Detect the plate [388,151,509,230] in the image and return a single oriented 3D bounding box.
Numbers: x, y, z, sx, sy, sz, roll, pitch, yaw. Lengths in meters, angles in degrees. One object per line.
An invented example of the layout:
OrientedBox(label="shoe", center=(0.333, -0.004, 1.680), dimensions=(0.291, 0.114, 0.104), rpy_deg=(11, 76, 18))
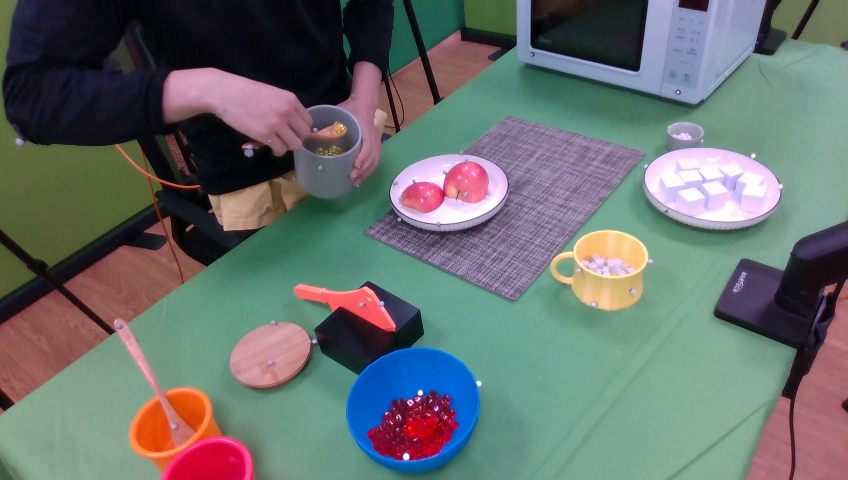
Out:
OrientedBox(label="plate", center=(0.043, -0.082, 1.042), dimensions=(0.209, 0.038, 0.208), rpy_deg=(-4, 40, 4))

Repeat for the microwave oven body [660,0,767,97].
OrientedBox(label="microwave oven body", center=(0.473, -0.517, 1.314), dimensions=(0.438, 0.261, 0.327), rpy_deg=(26, 51, 34))

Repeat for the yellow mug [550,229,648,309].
OrientedBox(label="yellow mug", center=(0.245, 0.040, 0.857), dimensions=(0.130, 0.064, 0.099), rpy_deg=(1, 42, 11))

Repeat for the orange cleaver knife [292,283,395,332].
OrientedBox(label="orange cleaver knife", center=(-0.115, 0.092, 0.835), dimensions=(0.209, 0.077, 0.012), rpy_deg=(1, 32, 48))

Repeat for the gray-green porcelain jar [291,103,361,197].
OrientedBox(label="gray-green porcelain jar", center=(-0.158, -0.138, 0.972), dimensions=(0.106, 0.126, 0.105), rpy_deg=(5, 60, -7))

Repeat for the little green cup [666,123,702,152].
OrientedBox(label="little green cup", center=(0.472, -0.183, 1.102), dimensions=(0.061, 0.039, 0.061), rpy_deg=(-5, 41, 5))

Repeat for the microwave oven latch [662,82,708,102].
OrientedBox(label="microwave oven latch", center=(0.518, -0.299, 1.203), dimensions=(0.078, 0.029, 0.030), rpy_deg=(29, 53, 36))

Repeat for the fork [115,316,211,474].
OrientedBox(label="fork", center=(-0.308, 0.179, 0.708), dimensions=(0.028, 0.018, 0.207), rpy_deg=(-30, 89, -22))

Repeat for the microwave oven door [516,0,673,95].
OrientedBox(label="microwave oven door", center=(0.344, -0.458, 1.256), dimensions=(0.353, 0.245, 0.039), rpy_deg=(26, 51, 33))

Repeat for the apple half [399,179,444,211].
OrientedBox(label="apple half", center=(-0.004, -0.088, 1.045), dimensions=(0.081, 0.033, 0.081), rpy_deg=(-1, 43, 2))

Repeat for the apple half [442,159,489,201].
OrientedBox(label="apple half", center=(0.074, -0.110, 1.047), dimensions=(0.080, 0.053, 0.075), rpy_deg=(21, 46, 30))

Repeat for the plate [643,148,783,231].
OrientedBox(label="plate", center=(0.464, -0.079, 0.986), dimensions=(0.207, 0.039, 0.206), rpy_deg=(-4, 40, 4))

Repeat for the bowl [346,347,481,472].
OrientedBox(label="bowl", center=(-0.008, 0.205, 0.691), dimensions=(0.151, 0.077, 0.150), rpy_deg=(-4, 40, 4))

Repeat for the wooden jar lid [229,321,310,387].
OrientedBox(label="wooden jar lid", center=(-0.207, 0.156, 0.820), dimensions=(0.108, 0.021, 0.108), rpy_deg=(-3, 39, 3))

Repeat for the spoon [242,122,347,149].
OrientedBox(label="spoon", center=(-0.177, -0.146, 0.840), dimensions=(0.041, 0.021, 0.195), rpy_deg=(20, 23, 28))
